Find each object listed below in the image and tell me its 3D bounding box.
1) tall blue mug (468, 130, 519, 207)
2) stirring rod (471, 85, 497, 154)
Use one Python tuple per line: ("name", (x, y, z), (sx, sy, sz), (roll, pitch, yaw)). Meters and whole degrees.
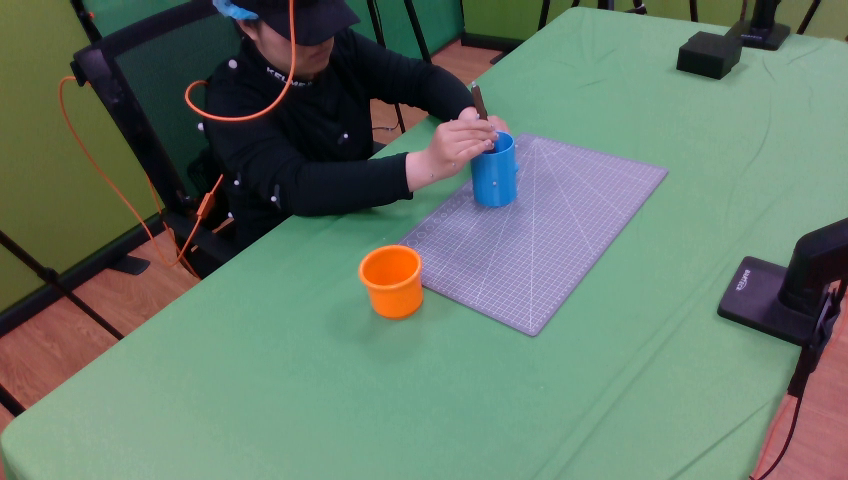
("tall blue mug", (0.114, -0.131, 1.045), (0.078, 0.108, 0.106), (-20, 41, -10))
("stirring rod", (0.103, -0.168, 0.969), (0.014, 0.177, 0.005), (-28, 36, -9))
